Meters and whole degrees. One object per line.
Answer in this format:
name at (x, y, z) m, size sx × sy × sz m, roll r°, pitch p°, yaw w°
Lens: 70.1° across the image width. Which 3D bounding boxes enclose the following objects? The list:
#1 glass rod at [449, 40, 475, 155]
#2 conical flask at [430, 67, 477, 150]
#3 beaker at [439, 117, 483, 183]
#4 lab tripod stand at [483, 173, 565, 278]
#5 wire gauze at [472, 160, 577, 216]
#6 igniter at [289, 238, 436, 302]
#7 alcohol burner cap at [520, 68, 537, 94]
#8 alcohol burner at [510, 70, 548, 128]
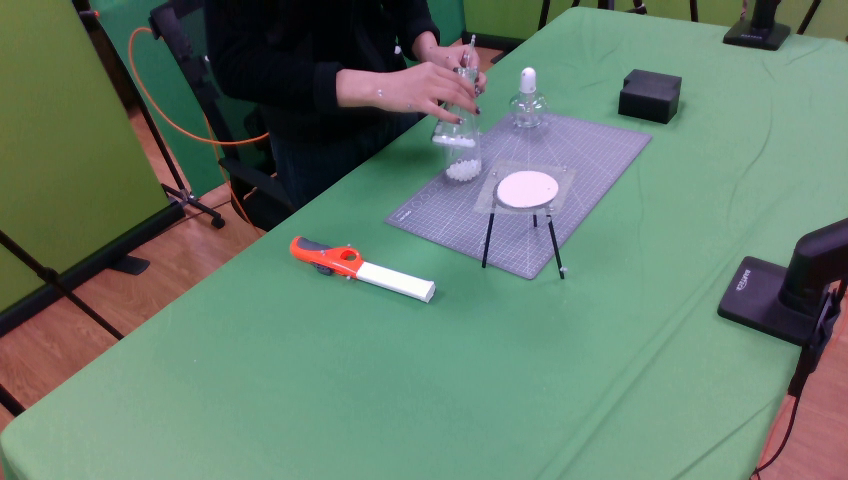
glass rod at (0.065, -0.246, 1.051) m, size 0.008 × 0.199 × 0.008 m, roll 11°, pitch 12°, yaw -2°
conical flask at (0.054, -0.207, 0.949) m, size 0.075 × 0.122 × 0.075 m, roll 9°, pitch 8°, yaw -1°
beaker at (0.068, -0.160, 1.097) m, size 0.073 × 0.101 × 0.084 m, roll 7°, pitch 43°, yaw 19°
lab tripod stand at (0.151, -0.025, 0.896) m, size 0.148 × 0.132 × 0.147 m, roll -7°, pitch 40°, yaw 6°
wire gauze at (0.143, -0.073, 0.850) m, size 0.121 × 0.011 × 0.125 m, roll 8°, pitch 43°, yaw 22°
igniter at (-0.106, 0.043, 0.949) m, size 0.274 × 0.025 × 0.057 m, roll 16°, pitch 57°, yaw 27°
alcohol burner cap at (0.205, -0.313, 1.183) m, size 0.034 × 0.048 × 0.033 m, roll -3°, pitch 50°, yaw 4°
alcohol burner at (0.209, -0.287, 1.208) m, size 0.078 × 0.119 × 0.077 m, roll -5°, pitch 42°, yaw 5°
